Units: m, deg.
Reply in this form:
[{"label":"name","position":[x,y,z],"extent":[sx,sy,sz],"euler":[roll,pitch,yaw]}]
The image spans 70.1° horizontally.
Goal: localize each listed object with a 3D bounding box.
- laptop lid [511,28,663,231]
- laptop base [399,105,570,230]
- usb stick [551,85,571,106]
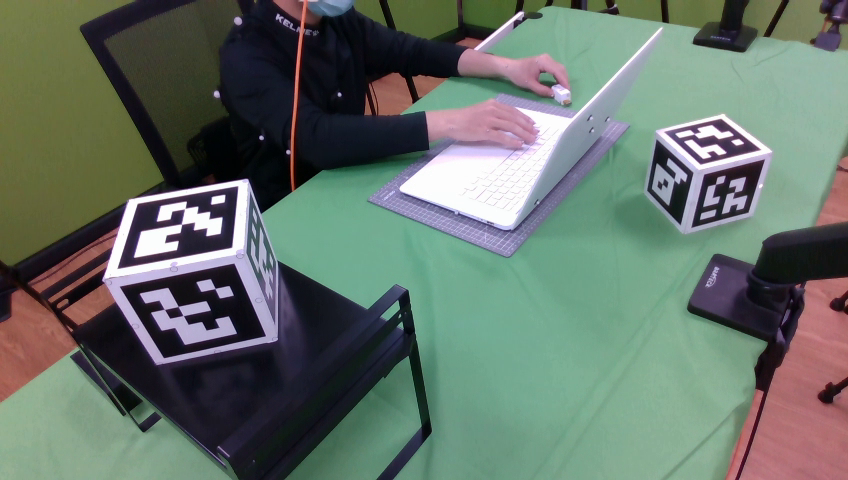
[{"label":"laptop lid","position":[0.265,-0.179,0.972],"extent":[0.013,0.242,0.357],"euler":[36,53,14]},{"label":"laptop base","position":[0.149,-0.147,1.123],"extent":[0.233,0.023,0.355],"euler":[20,47,32]},{"label":"usb stick","position":[0.292,-0.303,1.278],"extent":[0.021,0.027,0.058],"euler":[-16,42,-14]}]
